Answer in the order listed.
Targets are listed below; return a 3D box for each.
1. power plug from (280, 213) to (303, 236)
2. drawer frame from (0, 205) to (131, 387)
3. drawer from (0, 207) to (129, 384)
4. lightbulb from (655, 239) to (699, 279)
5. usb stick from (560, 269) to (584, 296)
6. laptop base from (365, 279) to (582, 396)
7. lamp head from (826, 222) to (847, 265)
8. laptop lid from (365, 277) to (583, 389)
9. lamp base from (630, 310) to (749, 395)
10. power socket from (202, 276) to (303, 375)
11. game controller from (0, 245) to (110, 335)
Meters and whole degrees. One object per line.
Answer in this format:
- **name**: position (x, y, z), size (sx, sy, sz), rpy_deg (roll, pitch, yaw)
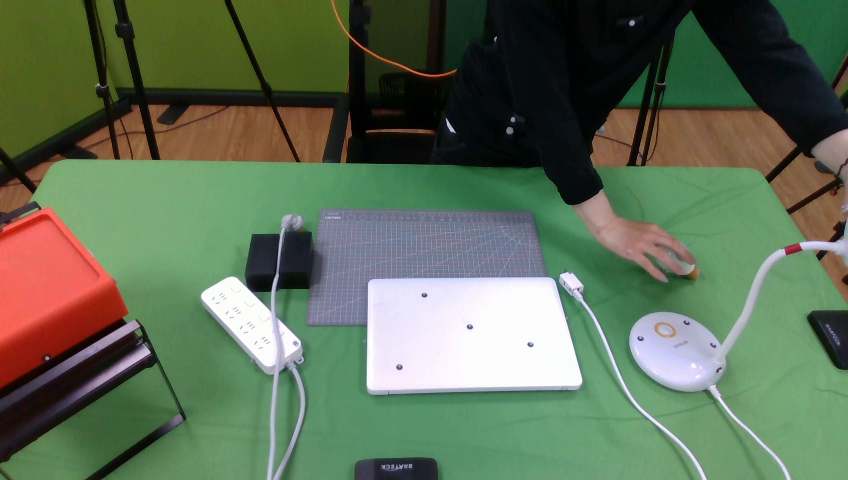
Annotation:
- **power plug**: position (-0.263, -0.021, 1.184), size (0.035, 0.053, 0.072), rpy_deg (-1, 48, 31)
- **drawer frame**: position (-0.539, 0.076, 0.795), size (0.200, 0.083, 0.213), rpy_deg (36, 54, 26)
- **drawer**: position (-0.539, 0.074, 0.798), size (0.193, 0.073, 0.211), rpy_deg (37, 55, 27)
- **lightbulb**: position (0.488, 0.040, 1.159), size (0.108, 0.059, 0.059), rpy_deg (35, 43, -21)
- **usb stick**: position (0.275, 0.077, 1.142), size (0.027, 0.021, 0.059), rpy_deg (-12, 39, -13)
- **laptop base**: position (0.077, 0.162, 1.053), size (0.355, 0.023, 0.234), rpy_deg (0, 44, -4)
- **lamp head**: position (0.576, -0.004, 0.753), size (0.112, 0.123, 0.111), rpy_deg (1, 47, -1)
- **laptop lid**: position (0.077, 0.152, 1.046), size (0.357, 0.013, 0.240), rpy_deg (1, 45, -3)
- **lamp base**: position (0.447, 0.143, 0.984), size (0.161, 0.181, 0.178), rpy_deg (-24, 55, -24)
- **power socket**: position (-0.296, 0.142, 1.033), size (0.072, 0.033, 0.225), rpy_deg (-34, 58, -30)
- **game controller**: position (-0.510, 0.062, 0.830), size (0.097, 0.052, 0.154), rpy_deg (-30, 58, -30)
